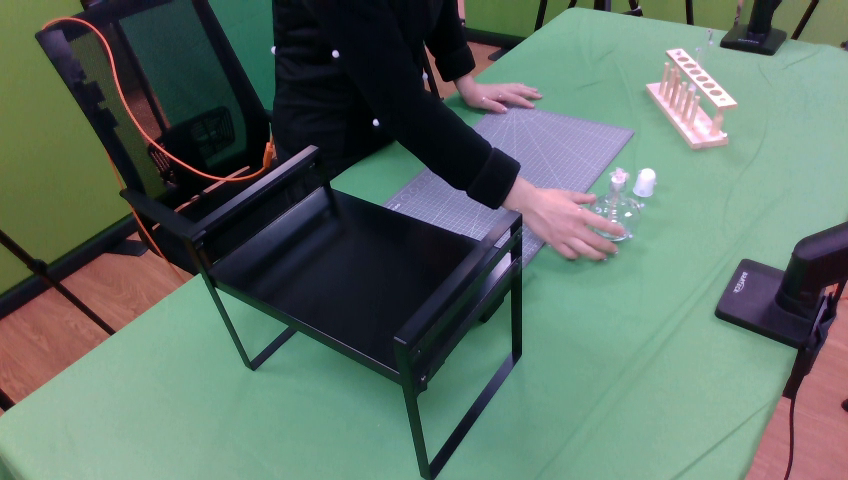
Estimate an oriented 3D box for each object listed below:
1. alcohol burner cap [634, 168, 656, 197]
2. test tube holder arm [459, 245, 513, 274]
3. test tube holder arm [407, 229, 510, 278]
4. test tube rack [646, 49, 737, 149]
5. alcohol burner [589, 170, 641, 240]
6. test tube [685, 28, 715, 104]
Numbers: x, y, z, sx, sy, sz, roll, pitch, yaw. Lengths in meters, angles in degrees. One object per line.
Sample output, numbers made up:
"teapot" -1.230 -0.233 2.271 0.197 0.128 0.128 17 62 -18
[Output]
"alcohol burner cap" 0.374 -0.099 1.018 0.034 0.048 0.033 -1 41 1
"test tube holder arm" 0.085 0.027 0.857 0.087 0.015 0.010 21 65 30
"test tube holder arm" 0.046 0.018 0.877 0.177 0.015 0.013 21 65 30
"test tube rack" 0.511 -0.280 1.175 0.067 0.085 0.241 -8 41 0
"alcohol burner" 0.296 -0.058 0.930 0.078 0.119 0.077 -3 41 3
"test tube" 0.525 -0.328 1.153 0.017 0.151 0.017 -1 42 1
